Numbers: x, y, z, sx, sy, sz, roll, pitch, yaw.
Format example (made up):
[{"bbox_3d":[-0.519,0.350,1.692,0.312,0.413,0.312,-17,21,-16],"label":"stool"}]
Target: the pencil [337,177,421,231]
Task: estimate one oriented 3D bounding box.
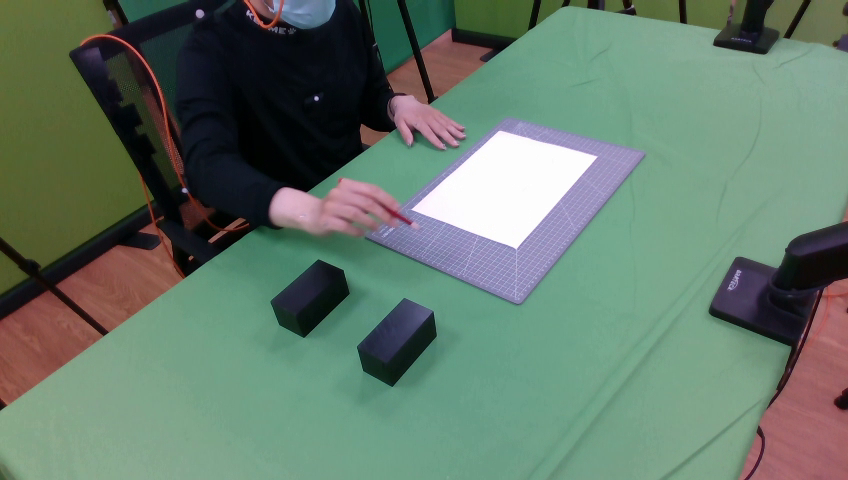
[{"bbox_3d":[-0.068,-0.054,0.886,0.012,0.012,0.192,-34,47,-28],"label":"pencil"}]
